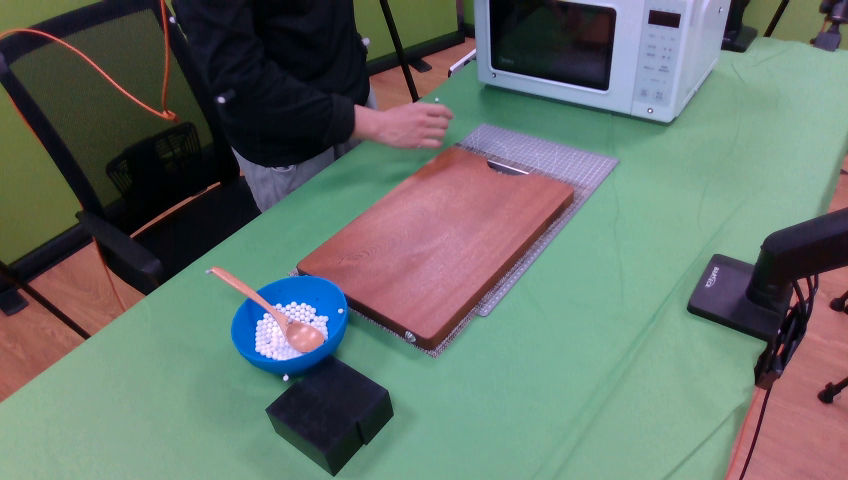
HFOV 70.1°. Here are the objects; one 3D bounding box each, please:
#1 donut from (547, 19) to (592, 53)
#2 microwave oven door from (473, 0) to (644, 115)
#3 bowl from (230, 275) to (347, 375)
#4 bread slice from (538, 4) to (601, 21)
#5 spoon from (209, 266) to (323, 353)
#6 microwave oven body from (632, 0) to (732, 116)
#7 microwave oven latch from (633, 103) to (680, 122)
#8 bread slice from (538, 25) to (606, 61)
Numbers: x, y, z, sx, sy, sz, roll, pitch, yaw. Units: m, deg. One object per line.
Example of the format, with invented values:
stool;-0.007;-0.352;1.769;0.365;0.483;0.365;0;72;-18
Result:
donut;0.313;-0.439;1.300;0.099;0.048;0.098;-20;36;15
microwave oven door;0.257;-0.396;1.199;0.353;0.245;0.039;21;48;29
bowl;-0.171;0.125;0.802;0.151;0.077;0.150;-4;40;4
bread slice;0.312;-0.483;1.278;0.106;0.018;0.135;14;31;25
spoon;-0.213;0.087;0.806;0.193;0.021;0.042;37;56;11
microwave oven body;0.377;-0.462;1.267;0.438;0.261;0.327;21;48;30
microwave oven latch;0.443;-0.249;1.157;0.078;0.029;0.030;20;48;30
bread slice;0.334;-0.440;1.337;0.132;0.019;0.104;-35;43;-21
